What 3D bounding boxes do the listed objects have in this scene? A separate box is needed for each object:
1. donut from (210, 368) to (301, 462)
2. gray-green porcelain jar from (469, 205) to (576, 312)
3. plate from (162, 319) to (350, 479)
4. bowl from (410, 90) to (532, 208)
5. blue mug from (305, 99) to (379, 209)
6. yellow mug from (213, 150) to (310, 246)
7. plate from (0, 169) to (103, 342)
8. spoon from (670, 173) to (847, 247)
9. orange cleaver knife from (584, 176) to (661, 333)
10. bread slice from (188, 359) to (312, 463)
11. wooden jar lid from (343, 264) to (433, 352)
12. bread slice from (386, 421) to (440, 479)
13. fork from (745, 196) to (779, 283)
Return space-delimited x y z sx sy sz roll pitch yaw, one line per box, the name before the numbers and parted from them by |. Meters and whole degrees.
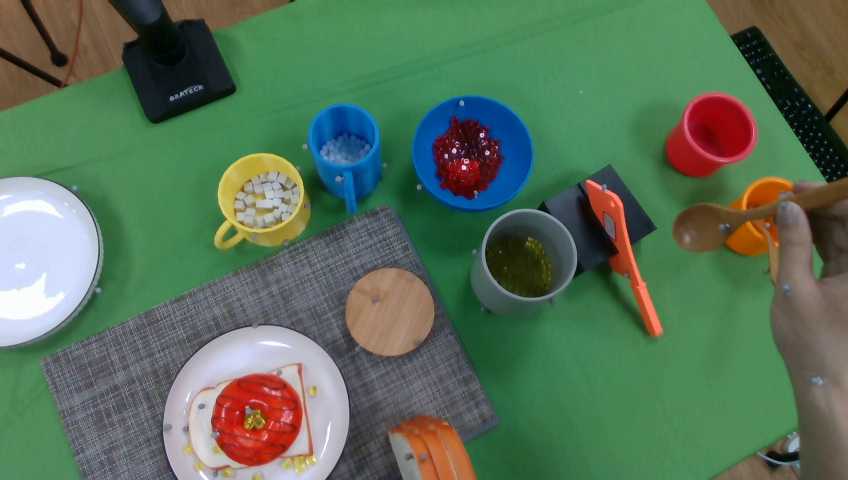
donut | -0.183 0.190 0.664 0.099 0.048 0.098 2 76 -7
gray-green porcelain jar | 0.109 0.028 0.712 0.106 0.127 0.105 1 75 -4
plate | -0.187 0.195 0.691 0.209 0.038 0.208 1 75 -3
bowl | 0.055 -0.103 0.767 0.151 0.077 0.150 1 76 -3
blue mug | -0.096 -0.096 0.742 0.082 0.106 0.116 -5 76 -5
yellow mug | -0.206 -0.041 0.741 0.099 0.064 0.130 41 78 8
plate | -0.486 0.019 0.722 0.208 0.039 0.206 1 75 -3
spoon | 0.248 -0.024 0.443 0.022 0.193 0.041 -13 85 -14
orange cleaver knife | 0.243 0.018 0.745 0.012 0.076 0.212 -28 108 -9
bread slice | -0.200 0.200 0.692 0.132 0.019 0.104 -11 75 -10
wooden jar lid | -0.044 0.083 0.739 0.108 0.021 0.108 1 76 -4
bread slice | -0.009 0.242 0.645 0.018 0.135 0.106 -17 75 -17
fork | 0.407 -0.005 0.727 0.028 0.019 0.206 37 32 0
